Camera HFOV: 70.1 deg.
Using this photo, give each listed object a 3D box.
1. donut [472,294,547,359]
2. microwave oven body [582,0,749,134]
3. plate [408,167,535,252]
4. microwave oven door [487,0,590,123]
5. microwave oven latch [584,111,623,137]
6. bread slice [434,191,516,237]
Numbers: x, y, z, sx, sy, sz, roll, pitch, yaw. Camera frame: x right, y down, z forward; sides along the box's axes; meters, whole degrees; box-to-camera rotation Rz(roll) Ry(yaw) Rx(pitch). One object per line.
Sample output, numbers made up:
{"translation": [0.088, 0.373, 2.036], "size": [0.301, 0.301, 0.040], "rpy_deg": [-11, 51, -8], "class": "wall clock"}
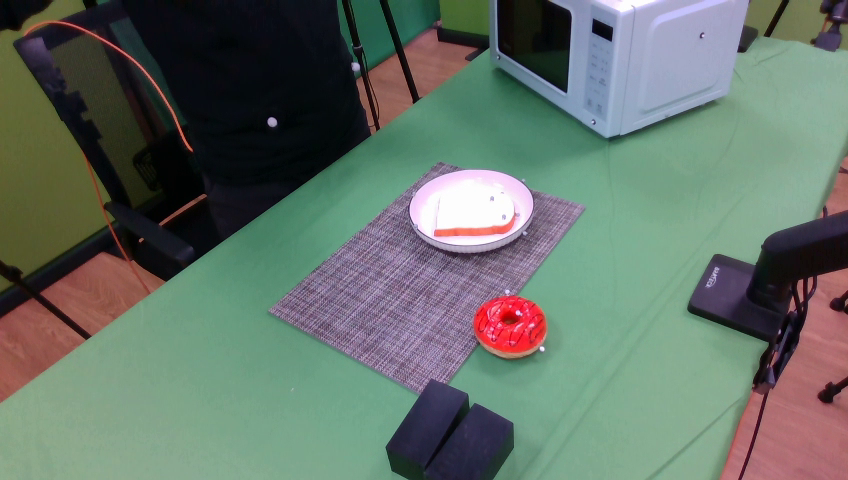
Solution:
{"translation": [0.114, 0.114, 0.803], "size": [0.099, 0.048, 0.098], "rpy_deg": [0, 40, 1], "class": "donut"}
{"translation": [0.382, -0.444, 1.246], "size": [0.327, 0.261, 0.437], "rpy_deg": [-22, 42, -16], "class": "microwave oven body"}
{"translation": [0.078, -0.047, 0.996], "size": [0.207, 0.039, 0.206], "rpy_deg": [-4, 41, 4], "class": "plate"}
{"translation": [0.232, -0.420, 1.231], "size": [0.039, 0.245, 0.352], "rpy_deg": [-22, 43, -16], "class": "microwave oven door"}
{"translation": [0.337, -0.222, 1.142], "size": [0.030, 0.029, 0.078], "rpy_deg": [-21, 42, -14], "class": "microwave oven latch"}
{"translation": [0.086, -0.046, 0.996], "size": [0.131, 0.019, 0.104], "rpy_deg": [-1, 42, 7], "class": "bread slice"}
